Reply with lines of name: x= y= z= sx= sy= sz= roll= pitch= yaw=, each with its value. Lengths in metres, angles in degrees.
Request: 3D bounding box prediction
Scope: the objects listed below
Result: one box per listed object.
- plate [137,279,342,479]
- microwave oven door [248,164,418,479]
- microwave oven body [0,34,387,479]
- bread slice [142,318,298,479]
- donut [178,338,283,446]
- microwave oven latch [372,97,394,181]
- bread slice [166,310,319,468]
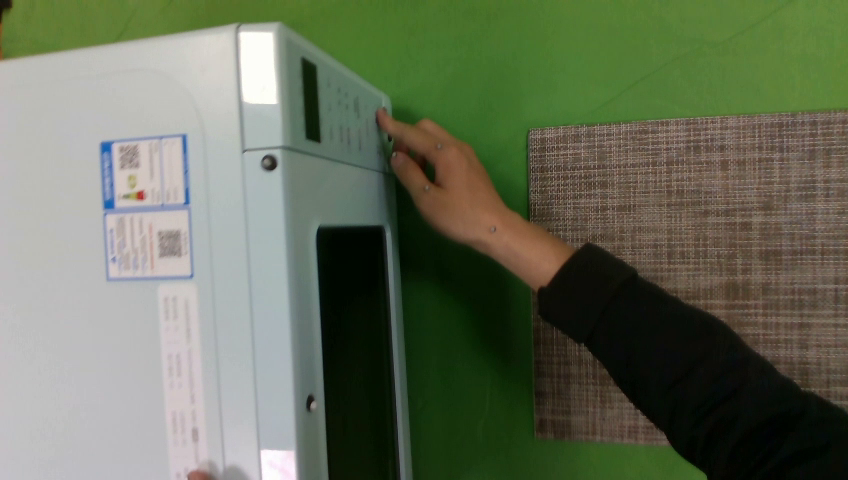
plate: x=-0.174 y=0.140 z=0.585 sx=0.207 sy=0.039 sz=0.207 roll=0 pitch=92 yaw=12
microwave oven door: x=-0.061 y=0.124 z=0.498 sx=0.039 sy=0.244 sz=0.355 roll=-3 pitch=91 yaw=15
microwave oven body: x=-0.204 y=0.090 z=0.537 sx=0.325 sy=0.261 sz=0.441 roll=-3 pitch=92 yaw=14
bread slice: x=-0.189 y=0.137 z=0.532 sx=0.131 sy=0.019 sz=0.105 roll=45 pitch=104 yaw=6
donut: x=-0.178 y=0.139 z=0.557 sx=0.099 sy=0.048 sz=0.099 roll=0 pitch=90 yaw=9
microwave oven latch: x=-0.046 y=-0.097 z=0.589 sx=0.030 sy=0.029 sz=0.079 roll=-3 pitch=92 yaw=14
bread slice: x=-0.181 y=0.134 z=0.579 sx=0.134 sy=0.018 sz=0.107 roll=40 pitch=93 yaw=8
